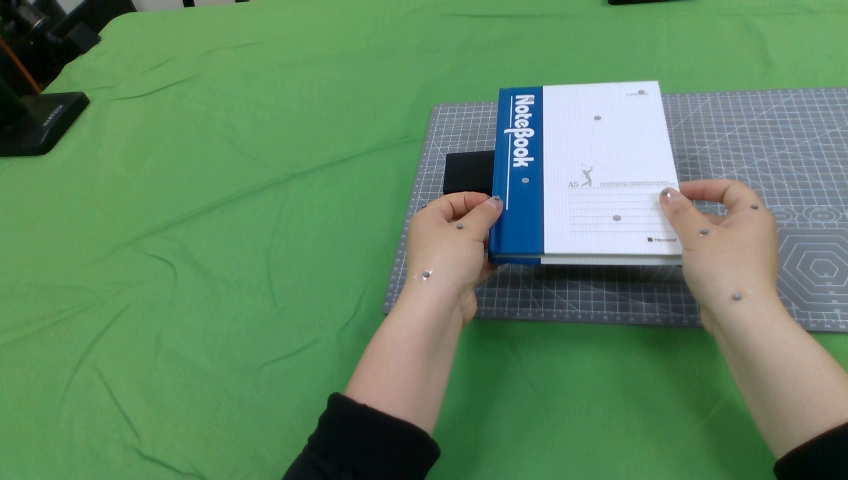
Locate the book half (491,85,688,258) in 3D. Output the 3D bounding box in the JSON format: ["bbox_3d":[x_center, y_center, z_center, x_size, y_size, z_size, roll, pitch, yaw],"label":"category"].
[{"bbox_3d":[0.133,-0.066,0.513,0.143,0.007,0.208,0,49,10],"label":"book half"}]

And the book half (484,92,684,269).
[{"bbox_3d":[0.131,-0.061,0.519,0.148,0.016,0.208,0,50,10],"label":"book half"}]
